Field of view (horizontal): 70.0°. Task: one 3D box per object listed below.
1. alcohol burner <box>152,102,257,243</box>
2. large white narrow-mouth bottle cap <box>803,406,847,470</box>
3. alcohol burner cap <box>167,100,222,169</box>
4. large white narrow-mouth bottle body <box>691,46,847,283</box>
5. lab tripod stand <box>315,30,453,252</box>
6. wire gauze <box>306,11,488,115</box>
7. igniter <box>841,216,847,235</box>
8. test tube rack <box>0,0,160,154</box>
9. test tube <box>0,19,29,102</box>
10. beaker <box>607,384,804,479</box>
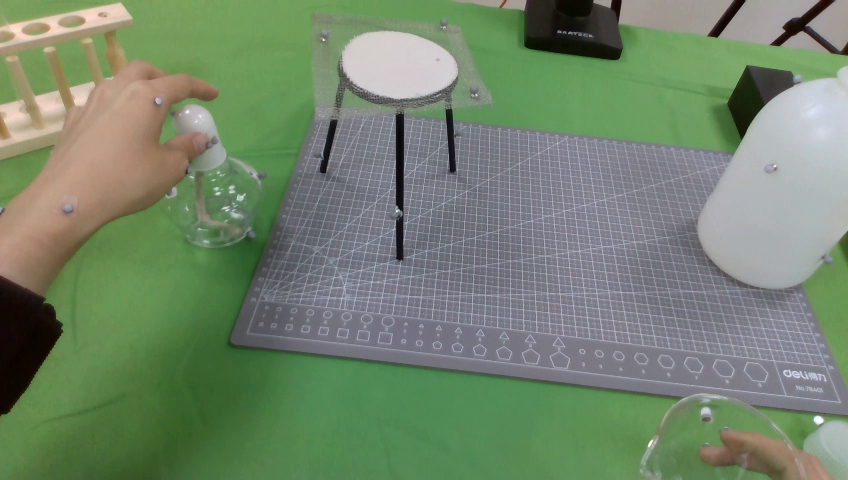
[{"bbox_3d":[-0.169,-0.054,0.463,0.078,0.120,0.077,5,46,-5],"label":"alcohol burner"},{"bbox_3d":[0.279,0.134,0.409,0.038,0.024,0.037,3,47,-3],"label":"large white narrow-mouth bottle cap"},{"bbox_3d":[-0.167,-0.077,0.435,0.034,0.048,0.033,2,52,-3],"label":"alcohol burner cap"},{"bbox_3d":[0.289,-0.061,0.466,0.102,0.196,0.101,3,47,-3],"label":"large white narrow-mouth bottle body"},{"bbox_3d":[-0.026,-0.086,0.491,0.148,0.132,0.147,5,48,-5],"label":"lab tripod stand"},{"bbox_3d":[-0.024,-0.133,0.443,0.122,0.011,0.123,-3,50,-11],"label":"wire gauze"},{"bbox_3d":[0.384,0.073,0.473,0.057,0.025,0.274,16,47,-6],"label":"igniter"},{"bbox_3d":[-0.373,-0.132,0.527,0.243,0.086,0.066,-25,56,-27],"label":"test tube rack"},{"bbox_3d":[-0.364,-0.184,0.509,0.017,0.151,0.017,4,43,-3],"label":"test tube"},{"bbox_3d":[0.143,0.138,0.335,0.084,0.101,0.073,-2,48,-7],"label":"beaker"}]
